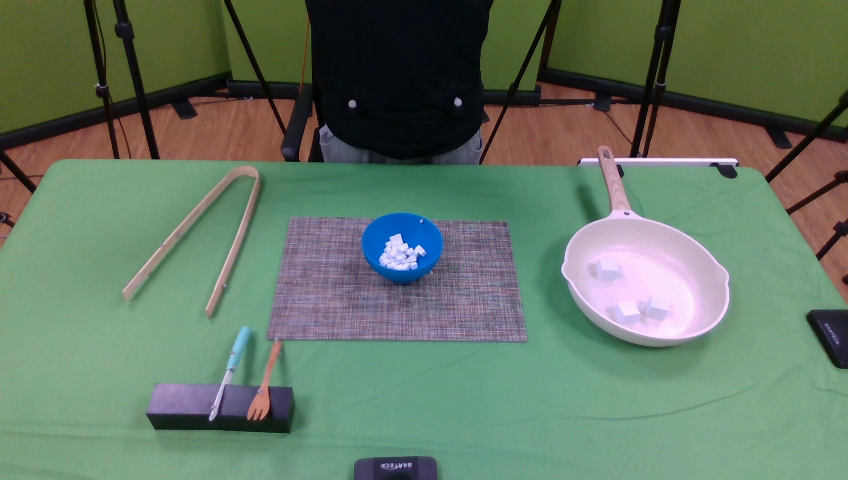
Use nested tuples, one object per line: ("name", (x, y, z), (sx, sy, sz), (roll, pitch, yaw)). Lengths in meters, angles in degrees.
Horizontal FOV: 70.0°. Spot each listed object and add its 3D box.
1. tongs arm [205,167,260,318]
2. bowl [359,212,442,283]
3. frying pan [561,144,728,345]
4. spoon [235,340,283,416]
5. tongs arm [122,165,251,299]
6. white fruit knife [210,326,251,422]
("tongs arm", (-0.367, -0.010, 1.174), (0.028, 0.028, 0.385), (2, 46, 1))
("bowl", (-0.044, 0.026, 1.125), (0.151, 0.077, 0.150), (2, 46, -2))
("frying pan", (0.397, -0.008, 1.179), (0.307, 0.103, 0.485), (2, 55, -4))
("spoon", (-0.244, 0.207, 0.932), (0.042, 0.022, 0.193), (28, 25, -8))
("tongs arm", (-0.447, -0.027, 1.179), (0.051, 0.026, 0.383), (14, 46, 8))
("white fruit knife", (-0.300, 0.201, 0.941), (0.016, 0.027, 0.206), (-2, 32, 1))
